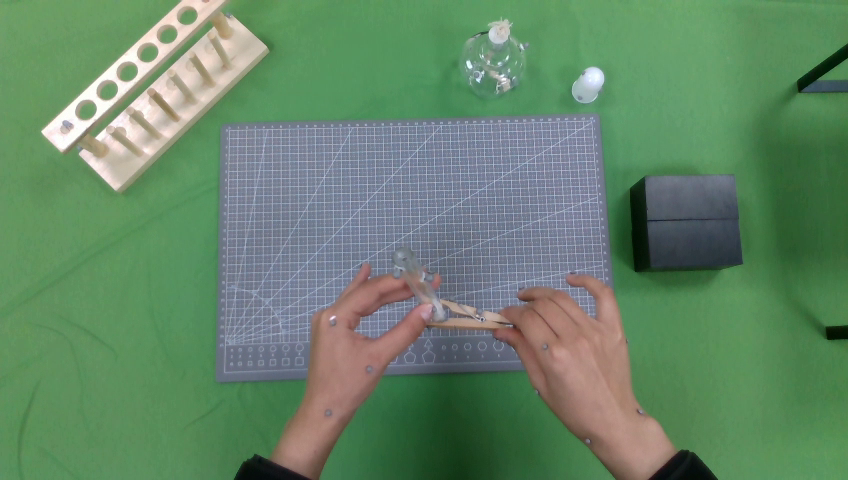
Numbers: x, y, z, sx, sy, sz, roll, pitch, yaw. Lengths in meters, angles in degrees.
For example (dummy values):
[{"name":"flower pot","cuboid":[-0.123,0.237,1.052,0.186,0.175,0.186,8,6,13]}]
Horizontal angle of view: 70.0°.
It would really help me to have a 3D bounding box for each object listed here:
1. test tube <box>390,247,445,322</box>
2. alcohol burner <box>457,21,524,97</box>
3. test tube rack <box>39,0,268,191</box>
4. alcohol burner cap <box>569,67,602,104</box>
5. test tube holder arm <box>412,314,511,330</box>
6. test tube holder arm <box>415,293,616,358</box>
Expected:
[{"name":"test tube","cuboid":[-0.001,0.039,0.479,0.017,0.151,0.017,-4,67,10]},{"name":"alcohol burner","cuboid":[0.077,-0.209,0.680,0.078,0.119,0.077,0,79,-2]},{"name":"test tube rack","cuboid":[-0.295,-0.172,0.681,0.066,0.085,0.242,43,83,6]},{"name":"alcohol burner cap","cuboid":[0.192,-0.184,0.715,0.034,0.048,0.033,0,80,-1]},{"name":"test tube holder arm","cuboid":[0.033,0.073,0.535,0.088,0.015,0.010,1,74,6]},{"name":"test tube holder arm","cuboid":[0.078,0.074,0.529,0.178,0.015,0.013,13,77,9]}]
